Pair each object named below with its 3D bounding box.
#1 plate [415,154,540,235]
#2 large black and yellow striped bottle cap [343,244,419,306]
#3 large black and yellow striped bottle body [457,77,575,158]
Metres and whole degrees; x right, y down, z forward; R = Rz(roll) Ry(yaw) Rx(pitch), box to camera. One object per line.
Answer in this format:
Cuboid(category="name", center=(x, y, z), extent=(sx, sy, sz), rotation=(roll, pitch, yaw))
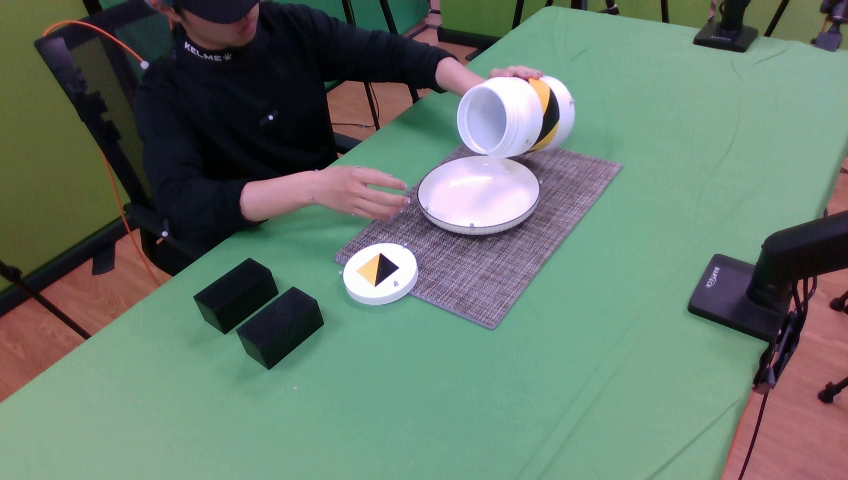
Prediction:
Cuboid(category="plate", center=(0.090, -0.074, 1.025), extent=(0.207, 0.039, 0.206), rotation=(-4, 41, 4))
Cuboid(category="large black and yellow striped bottle cap", center=(-0.066, 0.051, 0.918), extent=(0.115, 0.019, 0.114), rotation=(-6, 43, 6))
Cuboid(category="large black and yellow striped bottle body", center=(0.156, -0.209, 1.027), extent=(0.129, 0.131, 0.185), rotation=(30, 32, 36))
